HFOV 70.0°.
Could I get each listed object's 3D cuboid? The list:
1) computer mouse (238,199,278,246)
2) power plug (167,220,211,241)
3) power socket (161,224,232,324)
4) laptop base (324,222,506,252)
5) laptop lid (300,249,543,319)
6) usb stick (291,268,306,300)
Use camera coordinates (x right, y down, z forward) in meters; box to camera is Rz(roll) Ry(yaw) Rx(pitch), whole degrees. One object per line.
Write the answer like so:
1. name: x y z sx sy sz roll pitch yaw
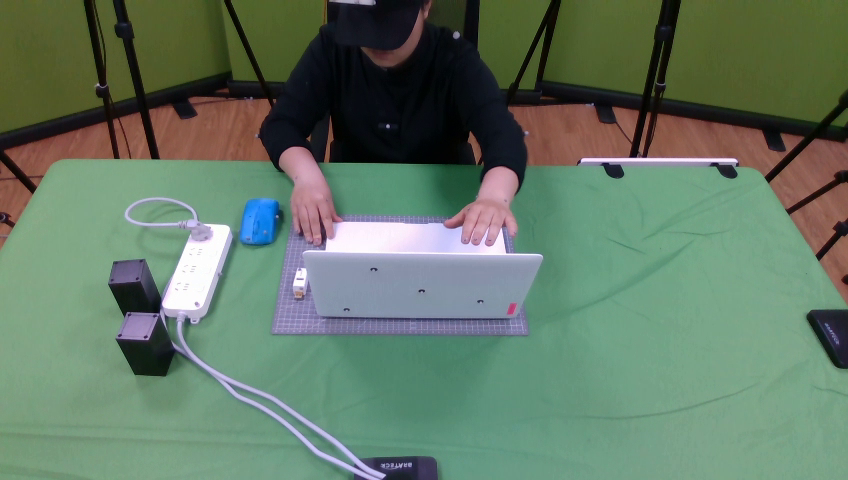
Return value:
1. computer mouse: -0.328 -0.039 1.200 0.063 0.041 0.116 4 50 -4
2. power plug: -0.439 -0.017 1.143 0.072 0.053 0.035 10 43 6
3. power socket: -0.412 0.052 1.107 0.072 0.033 0.225 4 45 -2
4. laptop base: -0.016 0.053 1.145 0.354 0.023 0.234 1 42 -3
5. laptop lid: -0.006 0.077 0.962 0.357 0.242 0.013 2 59 -4
6. usb stick: -0.227 0.081 1.093 0.021 0.027 0.059 6 47 -3
